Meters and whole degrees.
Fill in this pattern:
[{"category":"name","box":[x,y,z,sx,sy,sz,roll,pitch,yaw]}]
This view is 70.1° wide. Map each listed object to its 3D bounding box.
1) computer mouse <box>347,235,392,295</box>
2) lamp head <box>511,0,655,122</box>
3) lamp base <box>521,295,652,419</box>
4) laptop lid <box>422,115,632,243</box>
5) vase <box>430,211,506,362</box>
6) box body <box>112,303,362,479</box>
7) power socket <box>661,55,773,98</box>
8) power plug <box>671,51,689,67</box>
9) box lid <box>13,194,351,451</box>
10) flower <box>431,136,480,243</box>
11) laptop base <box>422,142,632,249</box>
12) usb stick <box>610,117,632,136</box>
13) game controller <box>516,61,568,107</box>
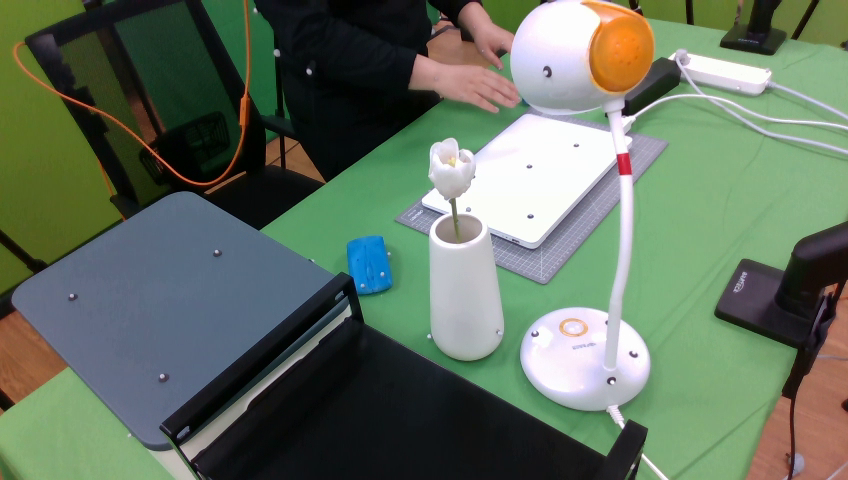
[{"category":"computer mouse","box":[-0.086,0.035,0.936,0.063,0.041,0.116,-8,44,-5]},{"category":"lamp head","box":[0.155,-0.168,0.564,0.113,0.113,0.122,-18,23,-12]},{"category":"lamp base","box":[0.201,0.095,0.710,0.161,0.181,0.177,-16,43,-10]},{"category":"laptop lid","box":[0.189,-0.126,1.081,0.239,0.013,0.358,23,49,35]},{"category":"vase","box":[0.054,0.062,0.757,0.098,0.201,0.097,-3,40,3]},{"category":"box body","box":[-0.285,0.123,0.766,0.361,0.161,0.255,25,49,33]},{"category":"power socket","box":[0.619,-0.352,1.289,0.225,0.033,0.072,26,51,33]},{"category":"power plug","box":[0.541,-0.378,1.301,0.073,0.053,0.035,-33,46,-23]},{"category":"box lid","box":[-0.292,0.067,0.717,0.368,0.015,0.264,25,50,33]},{"category":"flower","box":[0.041,0.011,0.691,0.044,0.363,0.038,16,62,14]},{"category":"laptop base","box":[0.193,-0.117,1.087,0.233,0.023,0.355,21,48,34]},{"category":"usb stick","box":[0.370,-0.208,1.147,0.021,0.027,0.059,28,56,31]},{"category":"game controller","box":[0.259,-0.352,1.336,0.097,0.052,0.154,-3,41,2]}]
